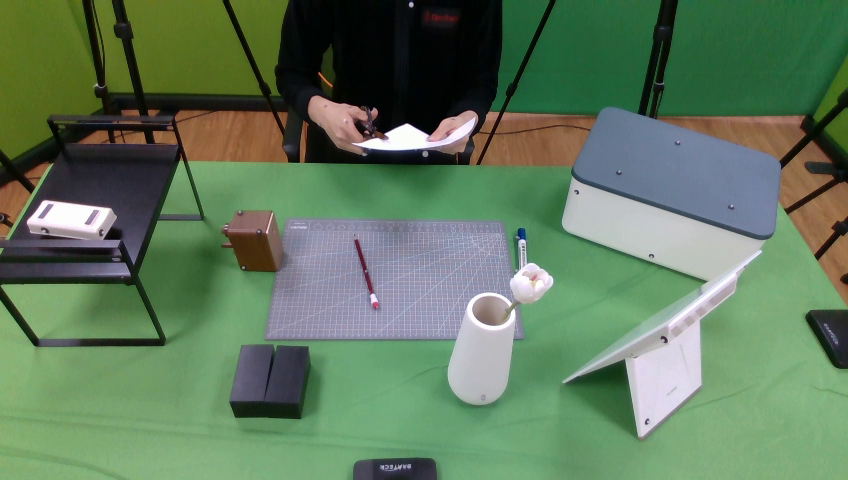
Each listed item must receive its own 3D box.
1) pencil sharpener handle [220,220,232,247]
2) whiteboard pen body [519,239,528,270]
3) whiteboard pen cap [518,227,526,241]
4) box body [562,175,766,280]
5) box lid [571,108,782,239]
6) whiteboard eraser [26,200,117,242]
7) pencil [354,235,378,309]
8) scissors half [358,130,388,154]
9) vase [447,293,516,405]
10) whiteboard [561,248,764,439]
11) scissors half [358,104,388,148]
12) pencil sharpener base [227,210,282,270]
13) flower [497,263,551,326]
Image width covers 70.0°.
[{"bbox_3d":[-0.362,-0.009,1.105,0.030,0.068,0.036,1,52,1],"label":"pencil sharpener handle"},{"bbox_3d":[0.193,0.035,1.180,0.017,0.017,0.140,6,48,1],"label":"whiteboard pen body"},{"bbox_3d":[0.197,-0.009,1.220,0.018,0.018,0.033,5,51,1],"label":"whiteboard pen cap"},{"bbox_3d":[0.486,-0.088,1.222,0.363,0.161,0.253,20,48,15],"label":"box body"},{"bbox_3d":[0.491,-0.139,1.168,0.370,0.015,0.262,21,49,15],"label":"box lid"},{"bbox_3d":[-0.532,-0.026,0.919,0.113,0.042,0.055,7,45,3],"label":"whiteboard eraser"},{"bbox_3d":[-0.113,0.055,1.143,0.012,0.012,0.192,-10,46,-13],"label":"pencil"},{"bbox_3d":[-0.089,-0.174,1.053,0.013,0.040,0.174,-4,5,-20],"label":"scissors half"},{"bbox_3d":[0.091,0.169,0.921,0.098,0.201,0.097,3,47,-3],"label":"vase"},{"bbox_3d":[0.386,0.176,0.905,0.217,0.306,0.143,-26,72,-27],"label":"whiteboard"},{"bbox_3d":[-0.088,-0.195,1.045,0.013,0.040,0.174,-8,35,-18],"label":"scissors half"},{"bbox_3d":[-0.311,0.001,1.112,0.077,0.107,0.061,1,47,1],"label":"pencil sharpener base"},{"bbox_3d":[0.102,0.121,0.853,0.044,0.363,0.038,-2,64,-10],"label":"flower"}]
